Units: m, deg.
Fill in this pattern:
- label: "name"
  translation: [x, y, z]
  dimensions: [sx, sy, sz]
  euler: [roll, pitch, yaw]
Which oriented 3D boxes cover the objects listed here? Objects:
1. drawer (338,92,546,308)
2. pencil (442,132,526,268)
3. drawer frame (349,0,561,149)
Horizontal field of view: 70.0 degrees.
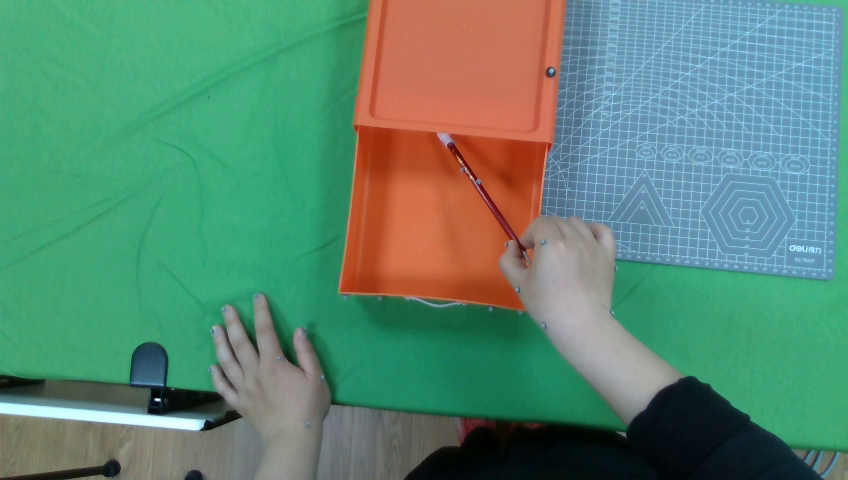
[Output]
- label: "drawer"
  translation: [0.022, -0.040, 0.624]
  dimensions: [0.194, 0.073, 0.211]
  euler: [5, 87, 6]
- label: "pencil"
  translation: [0.056, -0.053, 0.607]
  dimensions: [0.012, 0.012, 0.192]
  euler: [-27, 67, 1]
- label: "drawer frame"
  translation: [0.036, -0.204, 0.635]
  dimensions: [0.201, 0.083, 0.213]
  euler: [5, 84, 5]
